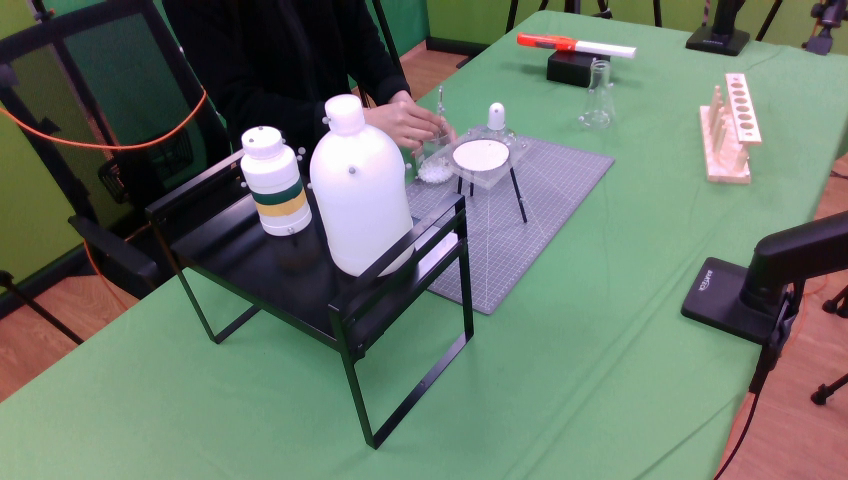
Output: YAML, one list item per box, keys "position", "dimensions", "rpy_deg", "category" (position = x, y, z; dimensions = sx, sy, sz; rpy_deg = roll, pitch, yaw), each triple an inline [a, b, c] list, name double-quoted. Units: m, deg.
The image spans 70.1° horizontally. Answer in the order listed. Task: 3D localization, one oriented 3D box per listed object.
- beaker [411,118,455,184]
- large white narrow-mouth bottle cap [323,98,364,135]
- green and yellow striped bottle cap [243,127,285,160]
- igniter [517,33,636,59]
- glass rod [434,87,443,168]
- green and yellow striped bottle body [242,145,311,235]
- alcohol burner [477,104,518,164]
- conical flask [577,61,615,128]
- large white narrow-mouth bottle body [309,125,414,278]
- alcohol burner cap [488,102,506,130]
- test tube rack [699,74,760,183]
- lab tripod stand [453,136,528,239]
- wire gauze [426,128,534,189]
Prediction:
- position: [0.020, -0.161, 1.099]
  dimensions: [0.073, 0.100, 0.084]
  rpy_deg: [14, 44, 22]
  category: "beaker"
- position: [-0.077, -0.120, 0.585]
  dimensions: [0.038, 0.024, 0.037]
  rpy_deg: [-3, 42, 4]
  category: "large white narrow-mouth bottle cap"
- position: [-0.183, -0.111, 0.694]
  dimensions: [0.045, 0.020, 0.045]
  rpy_deg: [-1, 42, 1]
  category: "green and yellow striped bottle cap"
- position: [0.336, -0.441, 1.369]
  dimensions: [0.275, 0.025, 0.057]
  rpy_deg: [16, 41, 23]
  category: "igniter"
- position: [0.025, -0.188, 1.039]
  dimensions: [0.008, 0.200, 0.008]
  rpy_deg: [1, 58, -1]
  category: "glass rod"
- position: [-0.179, -0.069, 0.730]
  dimensions: [0.063, 0.120, 0.063]
  rpy_deg: [-4, 41, 4]
  category: "green and yellow striped bottle body"
- position: [0.135, -0.200, 1.117]
  dimensions: [0.078, 0.119, 0.077]
  rpy_deg: [-4, 43, 4]
  category: "alcohol burner"
- position: [0.343, -0.288, 1.188]
  dimensions: [0.075, 0.122, 0.075]
  rpy_deg: [-4, 41, 4]
  category: "conical flask"
- position: [-0.068, -0.057, 0.644]
  dimensions: [0.102, 0.195, 0.101]
  rpy_deg: [-4, 42, 4]
  category: "large white narrow-mouth bottle body"
- position: [0.133, -0.227, 1.092]
  dimensions: [0.034, 0.048, 0.033]
  rpy_deg: [-1, 47, 2]
  category: "alcohol burner cap"
- position: [0.547, -0.208, 1.095]
  dimensions: [0.066, 0.085, 0.242]
  rpy_deg: [6, 42, 16]
  category: "test tube rack"
- position: [0.094, -0.086, 0.974]
  dimensions: [0.148, 0.132, 0.147]
  rpy_deg: [-4, 43, 4]
  category: "lab tripod stand"
- position: [0.086, -0.131, 0.924]
  dimensions: [0.124, 0.011, 0.122]
  rpy_deg: [26, 52, 33]
  category: "wire gauze"
